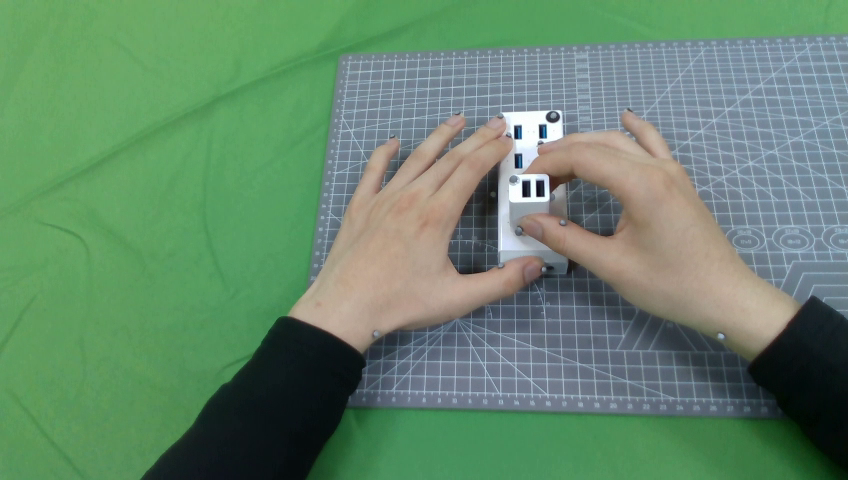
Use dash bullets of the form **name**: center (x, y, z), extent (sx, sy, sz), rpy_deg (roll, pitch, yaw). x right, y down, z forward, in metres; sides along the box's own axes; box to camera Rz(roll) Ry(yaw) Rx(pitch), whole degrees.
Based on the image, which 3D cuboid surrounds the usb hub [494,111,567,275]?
- **usb hub**: center (0.076, -0.036, 0.438), extent (0.049, 0.025, 0.124), rpy_deg (0, 65, 6)

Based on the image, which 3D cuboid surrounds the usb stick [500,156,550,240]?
- **usb stick**: center (0.065, -0.028, 0.388), extent (0.027, 0.060, 0.021), rpy_deg (-23, 54, -10)
